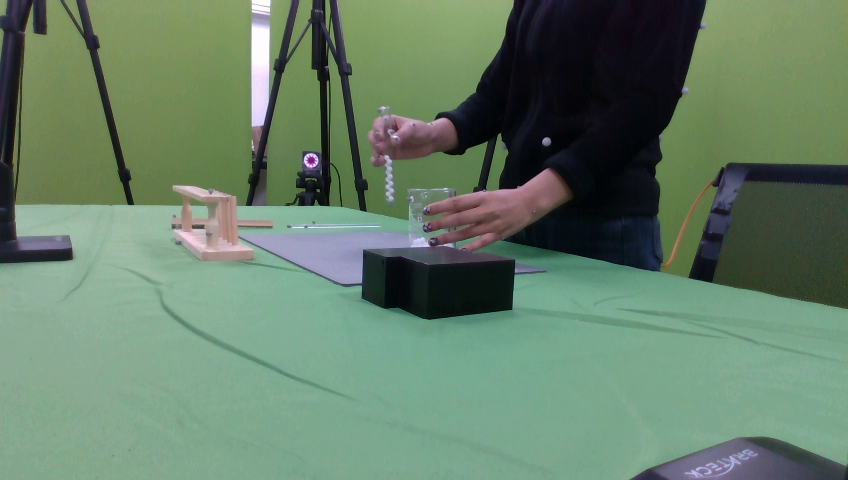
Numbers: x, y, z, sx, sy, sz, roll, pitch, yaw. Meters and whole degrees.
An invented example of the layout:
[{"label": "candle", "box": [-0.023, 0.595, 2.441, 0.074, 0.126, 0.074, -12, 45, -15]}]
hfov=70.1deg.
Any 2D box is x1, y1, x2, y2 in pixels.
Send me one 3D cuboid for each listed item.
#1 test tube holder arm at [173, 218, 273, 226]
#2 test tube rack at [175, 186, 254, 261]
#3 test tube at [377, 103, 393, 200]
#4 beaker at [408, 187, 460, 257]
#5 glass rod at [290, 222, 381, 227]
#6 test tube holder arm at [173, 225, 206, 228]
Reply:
[{"label": "test tube holder arm", "box": [-0.371, -0.033, 1.128, 0.179, 0.015, 0.013, -1, -21, -25]}, {"label": "test tube rack", "box": [-0.314, -0.031, 0.889, 0.067, 0.085, 0.241, -2, 8, -30]}, {"label": "test tube", "box": [-0.060, -0.137, 0.943, 0.017, 0.150, 0.017, -3, 15, 1]}, {"label": "beaker", "box": [0.012, -0.028, 0.884, 0.074, 0.100, 0.083, -2, 7, -23]}, {"label": "glass rod", "box": [-0.178, -0.033, 1.247, 0.201, 0.008, 0.008, -2, 8, -30]}, {"label": "test tube holder arm", "box": [-0.414, -0.030, 1.113, 0.088, 0.015, 0.010, -1, -21, -25]}]
